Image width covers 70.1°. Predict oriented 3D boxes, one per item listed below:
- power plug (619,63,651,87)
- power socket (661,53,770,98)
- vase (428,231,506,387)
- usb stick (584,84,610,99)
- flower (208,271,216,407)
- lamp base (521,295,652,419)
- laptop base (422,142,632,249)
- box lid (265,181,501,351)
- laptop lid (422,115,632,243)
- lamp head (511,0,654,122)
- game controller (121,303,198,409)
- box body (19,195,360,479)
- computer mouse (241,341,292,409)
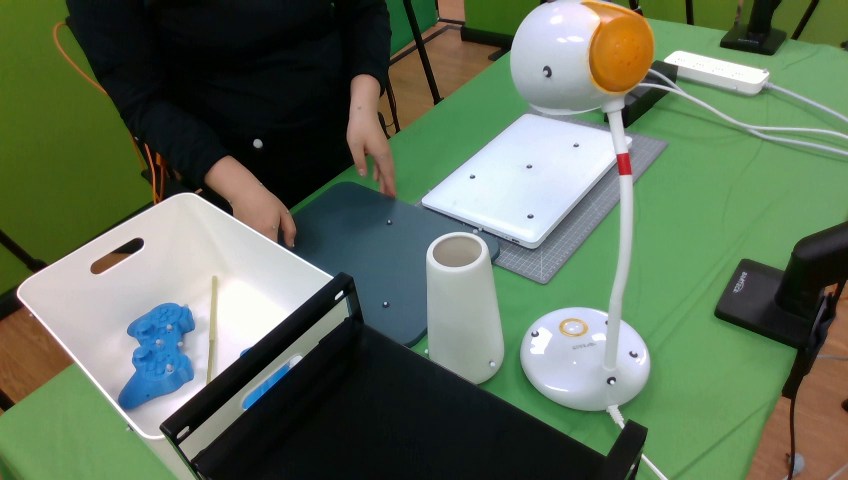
[{"bbox_3d":[0.435,-0.341,1.265,0.035,0.053,0.072,5,30,-14],"label":"power plug"},{"bbox_3d":[0.617,-0.355,1.292,0.225,0.033,0.072,29,53,35],"label":"power socket"},{"bbox_3d":[0.050,0.087,0.728,0.098,0.201,0.097,-3,40,3],"label":"vase"},{"bbox_3d":[0.354,-0.306,1.252,0.027,0.021,0.058,-3,1,-39],"label":"usb stick"},{"bbox_3d":[-0.286,0.160,0.819,0.044,0.038,0.359,6,36,-23],"label":"flower"},{"bbox_3d":[0.200,0.095,0.710,0.161,0.181,0.178,-16,43,-10],"label":"lamp base"},{"bbox_3d":[0.192,-0.117,1.087,0.233,0.023,0.355,21,47,34],"label":"laptop base"},{"bbox_3d":[-0.088,0.022,0.971,0.368,0.015,0.264,23,49,31],"label":"box lid"},{"bbox_3d":[0.189,-0.126,1.081,0.239,0.013,0.358,23,48,35],"label":"laptop lid"},{"bbox_3d":[0.155,-0.168,0.563,0.113,0.113,0.122,-18,23,-12],"label":"lamp head"},{"bbox_3d":[-0.364,0.149,0.828,0.097,0.052,0.154,-13,41,-9],"label":"game controller"},{"bbox_3d":[-0.288,0.118,0.772,0.361,0.161,0.255,26,50,33],"label":"box body"},{"bbox_3d":[-0.201,0.177,0.776,0.063,0.041,0.116,-11,44,-8],"label":"computer mouse"}]
